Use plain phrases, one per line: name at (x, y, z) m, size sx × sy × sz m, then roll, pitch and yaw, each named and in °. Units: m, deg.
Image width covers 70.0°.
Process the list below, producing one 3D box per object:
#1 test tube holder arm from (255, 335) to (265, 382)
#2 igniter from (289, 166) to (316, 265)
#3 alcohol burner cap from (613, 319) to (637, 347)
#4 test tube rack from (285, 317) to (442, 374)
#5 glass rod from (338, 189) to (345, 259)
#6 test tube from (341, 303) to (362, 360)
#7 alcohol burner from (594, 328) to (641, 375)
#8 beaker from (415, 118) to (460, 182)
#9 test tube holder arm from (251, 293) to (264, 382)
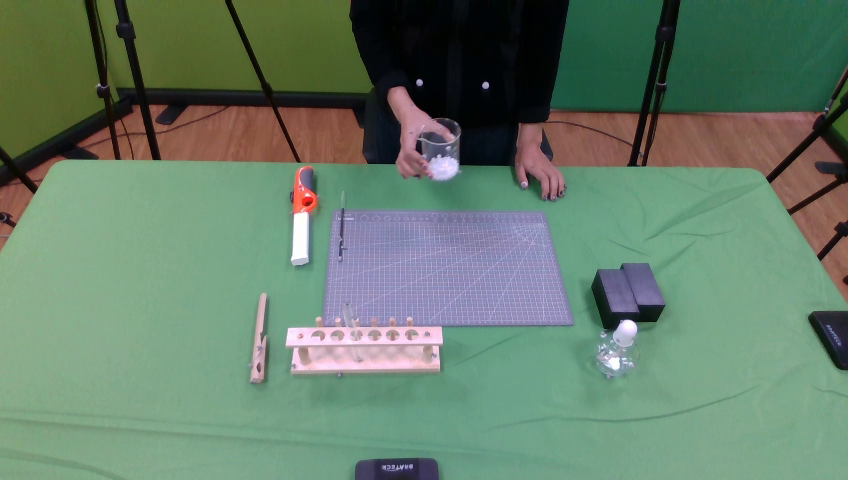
test tube holder arm at (-0.270, 0.193, 0.997) m, size 0.010 × 0.015 × 0.087 m, roll 24°, pitch 36°, yaw -32°
igniter at (-0.248, -0.058, 1.233) m, size 0.057 × 0.025 × 0.274 m, roll -9°, pitch 47°, yaw 1°
alcohol burner cap at (0.323, 0.146, 0.966) m, size 0.034 × 0.048 × 0.033 m, roll -1°, pitch 52°, yaw 2°
test tube rack at (-0.095, 0.166, 0.988) m, size 0.242 × 0.085 × 0.066 m, roll 0°, pitch 46°, yaw -4°
glass rod at (-0.166, -0.037, 1.226) m, size 0.008 × 0.008 × 0.198 m, roll -1°, pitch 47°, yaw -4°
test tube at (-0.111, 0.145, 0.938) m, size 0.017 × 0.151 × 0.017 m, roll -1°, pitch 50°, yaw 2°
alcohol burner at (0.322, 0.170, 0.994) m, size 0.078 × 0.119 × 0.077 m, roll 3°, pitch 48°, yaw -3°
beaker at (0.025, -0.166, 1.137) m, size 0.084 × 0.101 × 0.073 m, roll -12°, pitch 50°, yaw -8°
test tube holder arm at (-0.281, 0.160, 1.025) m, size 0.013 × 0.015 × 0.177 m, roll 23°, pitch 36°, yaw -32°
